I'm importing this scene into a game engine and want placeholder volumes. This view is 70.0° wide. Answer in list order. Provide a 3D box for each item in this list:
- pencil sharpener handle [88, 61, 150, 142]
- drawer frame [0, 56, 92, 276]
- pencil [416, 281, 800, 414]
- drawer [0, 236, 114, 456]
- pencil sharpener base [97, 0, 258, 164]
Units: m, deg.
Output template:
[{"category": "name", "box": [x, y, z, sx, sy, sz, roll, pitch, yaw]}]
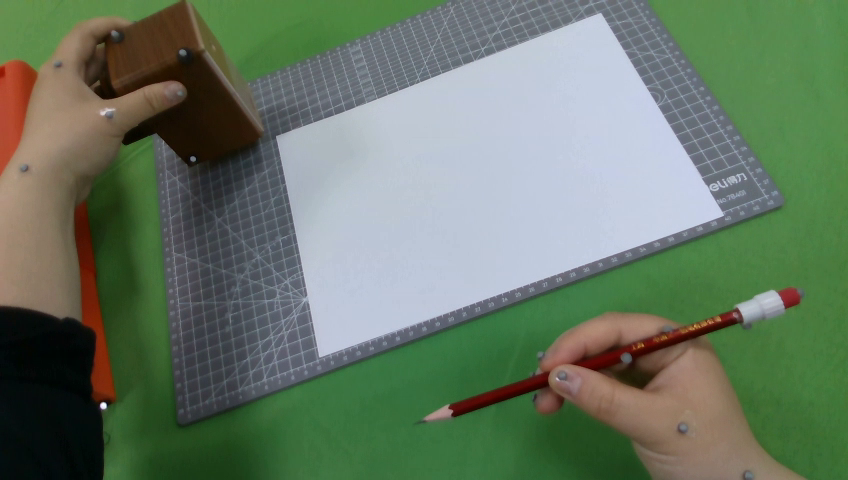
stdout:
[{"category": "pencil sharpener handle", "box": [-0.239, -0.102, 0.464, 0.030, 0.068, 0.035, -25, 59, -1]}, {"category": "drawer frame", "box": [-0.408, -0.024, 0.522, 0.201, 0.083, 0.211, -27, 61, 1]}, {"category": "pencil", "box": [0.087, 0.056, 0.299, 0.194, 0.012, 0.012, -20, 62, 6]}, {"category": "drawer", "box": [-0.361, 0.069, 0.469, 0.194, 0.074, 0.209, -28, 62, 1]}, {"category": "pencil sharpener base", "box": [-0.191, -0.119, 0.476, 0.077, 0.108, 0.061, -25, 63, -1]}]
